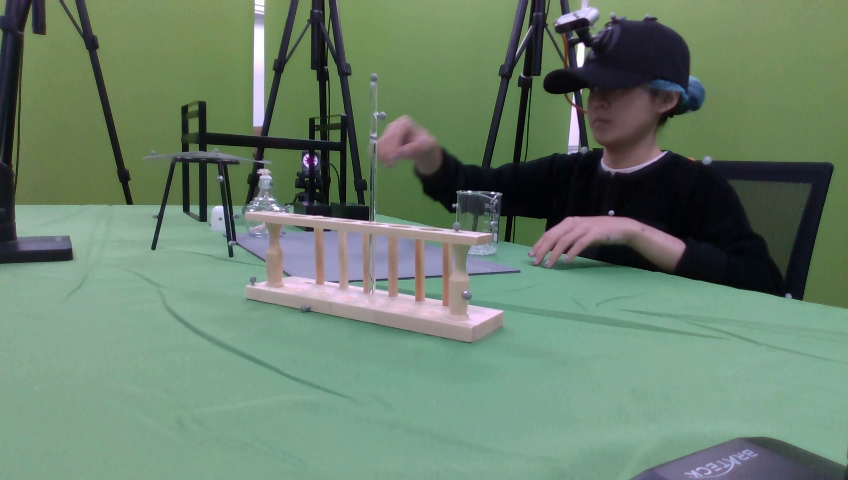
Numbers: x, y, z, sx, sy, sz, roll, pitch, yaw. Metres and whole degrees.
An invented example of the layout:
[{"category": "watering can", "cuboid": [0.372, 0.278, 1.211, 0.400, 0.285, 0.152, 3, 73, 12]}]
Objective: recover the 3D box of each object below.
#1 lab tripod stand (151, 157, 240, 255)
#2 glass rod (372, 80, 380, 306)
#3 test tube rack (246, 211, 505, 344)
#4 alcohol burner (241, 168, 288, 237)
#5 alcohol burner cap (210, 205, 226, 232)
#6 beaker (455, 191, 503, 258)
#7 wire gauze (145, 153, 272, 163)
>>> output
[{"category": "lab tripod stand", "cuboid": [-0.310, -0.052, 0.866, 0.148, 0.131, 0.148, 2, 6, 0]}, {"category": "glass rod", "cuboid": [-0.042, -0.039, 0.530, 0.008, 0.199, 0.008, 0, 2, 0]}, {"category": "test tube rack", "cuboid": [-0.049, 0.025, 0.547, 0.241, 0.085, 0.067, 7, 8, 29]}, {"category": "alcohol burner", "cuboid": [-0.272, -0.064, 1.036, 0.078, 0.119, 0.078, 4, 5, 0]}, {"category": "alcohol burner cap", "cuboid": [-0.376, -0.040, 1.107, 0.034, 0.048, 0.034, 2, 7, 0]}, {"category": "beaker", "cuboid": [0.087, -0.025, 0.955, 0.074, 0.100, 0.083, -1, 8, -25]}, {"category": "wire gauze", "cuboid": [-0.303, -0.117, 0.854, 0.121, 0.011, 0.126, 7, 8, 34]}]
